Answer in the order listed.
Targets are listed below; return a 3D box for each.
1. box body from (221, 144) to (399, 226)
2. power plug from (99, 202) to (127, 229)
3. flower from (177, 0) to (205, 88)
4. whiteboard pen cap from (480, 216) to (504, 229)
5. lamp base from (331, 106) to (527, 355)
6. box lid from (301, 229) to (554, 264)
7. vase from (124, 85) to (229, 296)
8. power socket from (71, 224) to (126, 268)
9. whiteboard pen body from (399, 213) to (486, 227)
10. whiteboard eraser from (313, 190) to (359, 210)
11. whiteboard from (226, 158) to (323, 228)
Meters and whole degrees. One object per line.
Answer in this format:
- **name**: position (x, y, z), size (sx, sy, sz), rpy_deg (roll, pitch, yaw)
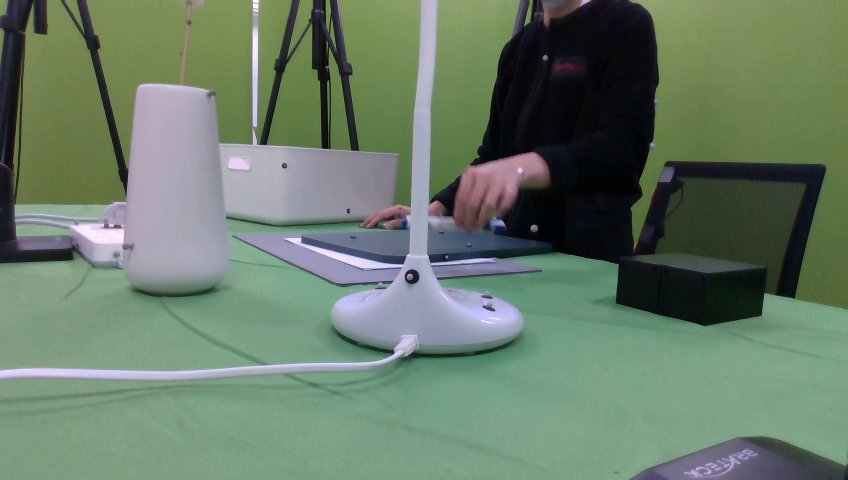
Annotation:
- **box body**: position (-0.264, -0.129, 1.380), size (0.253, 0.160, 0.366), rpy_deg (8, 9, 39)
- **power plug**: position (-0.415, -0.026, 0.848), size (0.073, 0.052, 0.035), rpy_deg (6, 5, -28)
- **flower**: position (-0.243, -0.131, 0.609), size (0.044, 0.361, 0.038), rpy_deg (-5, -12, 11)
- **whiteboard pen cap**: position (0.091, -0.024, 0.822), size (0.033, 0.018, 0.018), rpy_deg (0, 8, -20)
- **lamp base**: position (0.006, -0.012, 0.478), size (0.161, 0.180, 0.179), rpy_deg (2, 10, 2)
- **box lid**: position (0.011, 0.006, 0.999), size (0.374, 0.015, 0.262), rpy_deg (-3, 9, -43)
- **vase**: position (-0.244, -0.047, 0.598), size (0.098, 0.200, 0.098), rpy_deg (3, 8, 0)
- **power socket**: position (-0.409, 0.004, 0.793), size (0.072, 0.032, 0.225), rpy_deg (-2, 8, -37)
- **whiteboard pen body**: position (0.035, -0.026, 0.800), size (0.141, 0.017, 0.017), rpy_deg (1, 8, -19)
- **whiteboard eraser**: position (-0.222, -0.099, 1.517), size (0.112, 0.042, 0.056), rpy_deg (9, 17, 33)
- **whiteboard**: position (-0.276, -0.119, 1.376), size (0.216, 0.143, 0.307), rpy_deg (7, 10, 39)
